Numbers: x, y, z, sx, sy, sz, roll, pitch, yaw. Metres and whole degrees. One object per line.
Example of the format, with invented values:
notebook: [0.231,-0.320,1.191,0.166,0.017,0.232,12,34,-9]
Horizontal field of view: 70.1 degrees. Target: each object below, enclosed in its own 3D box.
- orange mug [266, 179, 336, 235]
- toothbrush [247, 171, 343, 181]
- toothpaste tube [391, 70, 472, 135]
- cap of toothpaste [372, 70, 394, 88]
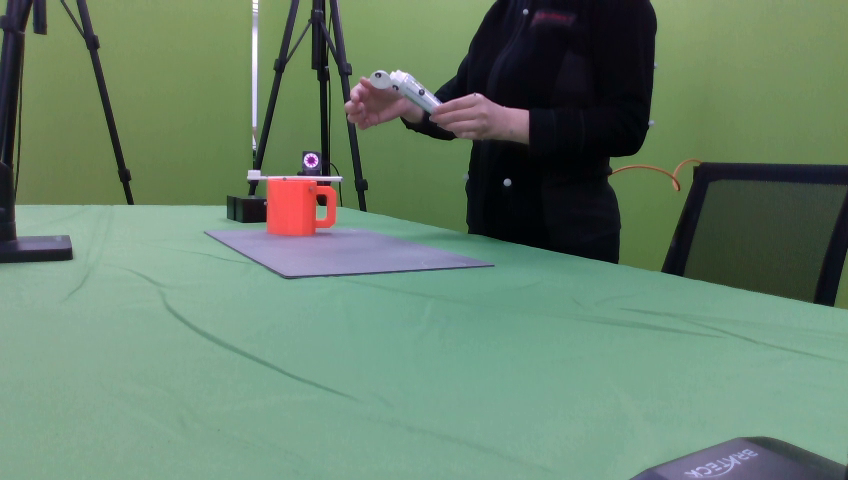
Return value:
orange mug: [-0.222,-0.062,1.094,0.127,0.101,0.083,-5,10,-22]
toothbrush: [-0.230,-0.115,1.092,0.183,0.016,0.014,-2,5,-35]
toothpaste tube: [0.012,-0.227,1.004,0.165,0.034,0.055,33,23,-12]
cap of toothpaste: [-0.066,-0.260,0.971,0.037,0.011,0.037,-1,-35,0]
